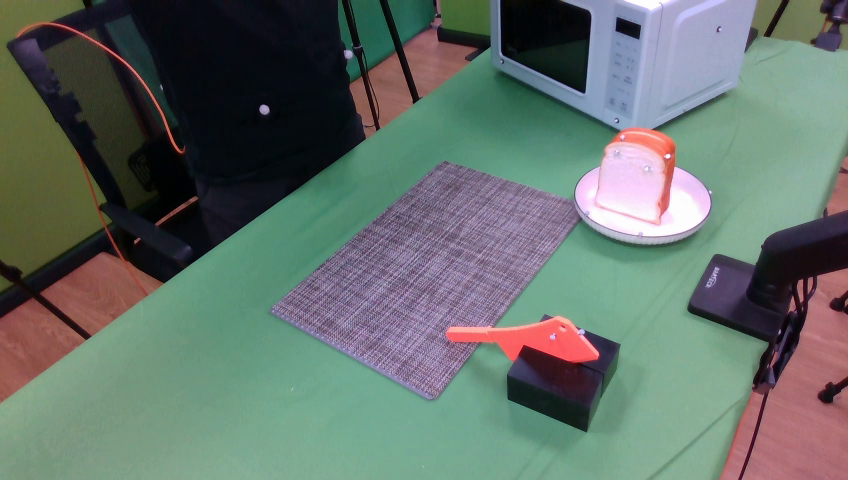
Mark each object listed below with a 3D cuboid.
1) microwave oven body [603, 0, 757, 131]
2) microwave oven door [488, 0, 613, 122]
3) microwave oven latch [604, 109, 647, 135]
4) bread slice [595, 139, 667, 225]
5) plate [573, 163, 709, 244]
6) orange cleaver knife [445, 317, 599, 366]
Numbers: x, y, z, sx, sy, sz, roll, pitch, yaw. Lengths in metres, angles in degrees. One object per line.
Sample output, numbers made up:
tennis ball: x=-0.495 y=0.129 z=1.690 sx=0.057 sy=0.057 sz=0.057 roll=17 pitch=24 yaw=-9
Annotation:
microwave oven body: x=0.396 y=-0.448 z=1.248 sx=0.327 sy=0.261 sz=0.437 roll=-27 pitch=44 yaw=-21
microwave oven door: x=0.250 y=-0.412 z=1.219 sx=0.039 sy=0.245 sz=0.352 roll=-27 pitch=44 yaw=-21
microwave oven latch: x=0.378 y=-0.225 z=1.139 sx=0.030 sy=0.029 sz=0.078 roll=-26 pitch=43 yaw=-20
bread slice: x=0.321 y=-0.093 z=0.936 sx=0.106 sy=0.135 sz=0.018 roll=17 pitch=44 yaw=31
plate: x=0.346 y=-0.059 z=0.978 sx=0.207 sy=0.039 sz=0.206 roll=-4 pitch=41 yaw=4
orange cleaver knife: x=0.115 y=0.129 z=0.751 sx=0.210 sy=0.077 sz=0.012 roll=-11 pitch=31 yaw=44
